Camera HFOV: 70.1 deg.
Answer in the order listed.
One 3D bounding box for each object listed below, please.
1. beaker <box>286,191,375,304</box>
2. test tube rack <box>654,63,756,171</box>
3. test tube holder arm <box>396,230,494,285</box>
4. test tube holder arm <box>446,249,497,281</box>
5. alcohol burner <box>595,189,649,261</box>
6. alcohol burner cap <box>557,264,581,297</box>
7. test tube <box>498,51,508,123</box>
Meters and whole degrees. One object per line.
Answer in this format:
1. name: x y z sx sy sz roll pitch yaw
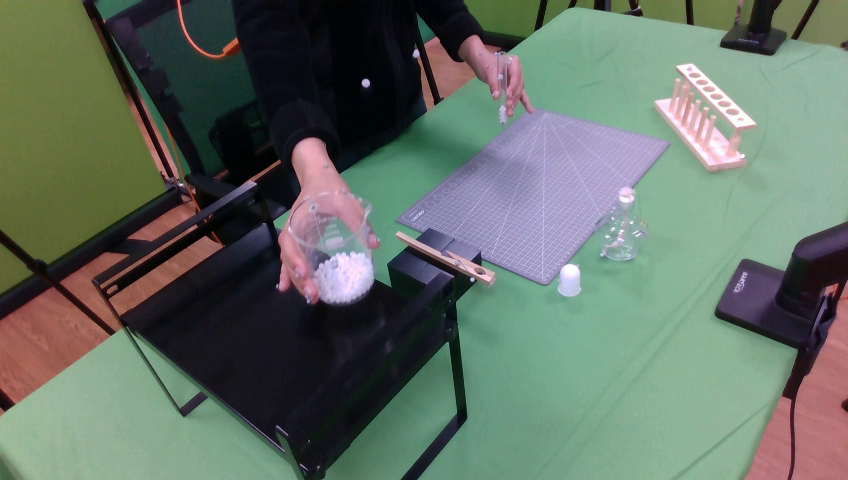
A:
1. beaker: -0.086 0.010 0.607 0.084 0.100 0.073 -23 52 -16
2. test tube rack: 0.510 -0.233 1.120 0.067 0.085 0.241 -8 41 -1
3. test tube holder arm: 0.026 0.023 0.872 0.177 0.015 0.013 25 63 32
4. test tube holder arm: 0.064 0.035 0.851 0.087 0.015 0.010 24 62 32
5. alcohol burner: 0.294 -0.028 0.894 0.078 0.119 0.077 -4 43 5
6. alcohol burner cap: 0.208 0.055 0.866 0.034 0.048 0.033 -4 41 4
7. test tube: 0.134 -0.256 1.026 0.017 0.151 0.017 -4 55 6
